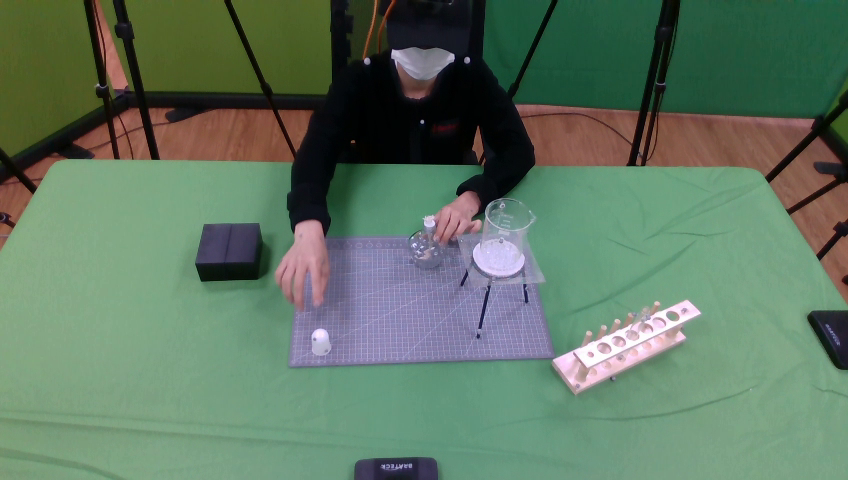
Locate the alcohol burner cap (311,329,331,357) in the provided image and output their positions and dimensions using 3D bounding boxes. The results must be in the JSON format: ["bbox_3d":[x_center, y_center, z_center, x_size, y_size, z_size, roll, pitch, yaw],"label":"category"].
[{"bbox_3d":[-0.173,0.168,1.004,0.034,0.048,0.033,2,46,-2],"label":"alcohol burner cap"}]

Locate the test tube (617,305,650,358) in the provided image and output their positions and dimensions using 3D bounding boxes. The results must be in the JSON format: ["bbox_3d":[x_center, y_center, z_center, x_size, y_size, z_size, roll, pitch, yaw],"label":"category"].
[{"bbox_3d":[0.333,0.149,0.967,0.017,0.151,0.017,0,52,1],"label":"test tube"}]

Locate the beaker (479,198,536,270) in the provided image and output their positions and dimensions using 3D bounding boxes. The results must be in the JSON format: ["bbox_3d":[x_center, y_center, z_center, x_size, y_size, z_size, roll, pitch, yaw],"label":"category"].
[{"bbox_3d":[0.131,-0.007,0.975,0.084,0.101,0.073,2,46,-4],"label":"beaker"}]

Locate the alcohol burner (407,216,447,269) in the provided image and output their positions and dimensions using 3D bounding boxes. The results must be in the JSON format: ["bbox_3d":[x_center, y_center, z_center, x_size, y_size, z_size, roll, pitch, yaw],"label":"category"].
[{"bbox_3d":[0.006,-0.003,1.135,0.078,0.120,0.077,2,48,-2],"label":"alcohol burner"}]

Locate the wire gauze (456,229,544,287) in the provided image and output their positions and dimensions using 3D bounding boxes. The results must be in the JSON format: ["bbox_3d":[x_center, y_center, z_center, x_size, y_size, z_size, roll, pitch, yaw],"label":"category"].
[{"bbox_3d":[0.125,0.030,1.008,0.125,0.011,0.120,-2,48,-11],"label":"wire gauze"}]

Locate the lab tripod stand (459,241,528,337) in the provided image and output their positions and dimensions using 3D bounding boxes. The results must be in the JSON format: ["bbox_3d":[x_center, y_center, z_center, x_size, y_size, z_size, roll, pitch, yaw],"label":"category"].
[{"bbox_3d":[0.122,0.075,1.054,0.148,0.132,0.147,3,44,-3],"label":"lab tripod stand"}]

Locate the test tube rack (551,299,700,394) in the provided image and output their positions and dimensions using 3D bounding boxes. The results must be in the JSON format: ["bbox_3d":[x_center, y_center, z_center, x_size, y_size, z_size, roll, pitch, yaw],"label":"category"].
[{"bbox_3d":[0.339,0.166,1.021,0.242,0.085,0.066,-19,50,-21],"label":"test tube rack"}]
